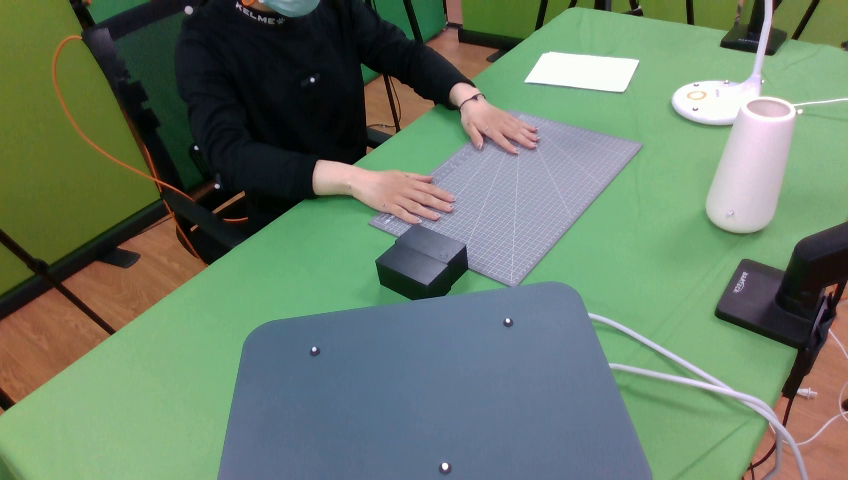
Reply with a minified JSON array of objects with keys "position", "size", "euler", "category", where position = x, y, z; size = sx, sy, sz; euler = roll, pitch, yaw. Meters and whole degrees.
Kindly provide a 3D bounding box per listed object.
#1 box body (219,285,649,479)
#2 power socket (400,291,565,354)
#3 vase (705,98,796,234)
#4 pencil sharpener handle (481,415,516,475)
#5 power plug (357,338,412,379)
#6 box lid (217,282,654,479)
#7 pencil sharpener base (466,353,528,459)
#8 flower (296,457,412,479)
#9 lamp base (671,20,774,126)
[{"position":[0.005,0.209,0.619],"size":[0.364,0.161,0.252],"euler":[-8,40,-1],"category":"box body"},{"position":[0.079,0.111,0.823],"size":[0.227,0.033,0.072],"euler":[-5,41,1],"category":"power socket"},{"position":[0.480,-0.104,0.889],"size":[0.098,0.201,0.097],"euler":[-4,42,4],"category":"vase"},{"position":[0.076,0.211,0.619],"size":[0.036,0.068,0.030],"euler":[1,42,1],"category":"pencil sharpener handle"},{"position":[-0.053,0.159,0.798],"size":[0.073,0.035,0.052],"euler":[20,48,-16],"category":"power plug"},{"position":[-0.004,0.154,0.571],"size":[0.372,0.015,0.261],"euler":[-8,40,-1],"category":"box lid"},{"position":[0.081,0.186,0.665],"size":[0.061,0.107,0.076],"euler":[-4,42,5],"category":"pencil sharpener base"},{"position":[0.017,0.270,0.655],"size":[0.360,0.038,0.044],"euler":[3,18,21],"category":"flower"},{"position":[0.581,-0.332,1.154],"size":[0.179,0.181,0.160],"euler":[2,41,7],"category":"lamp base"}]
